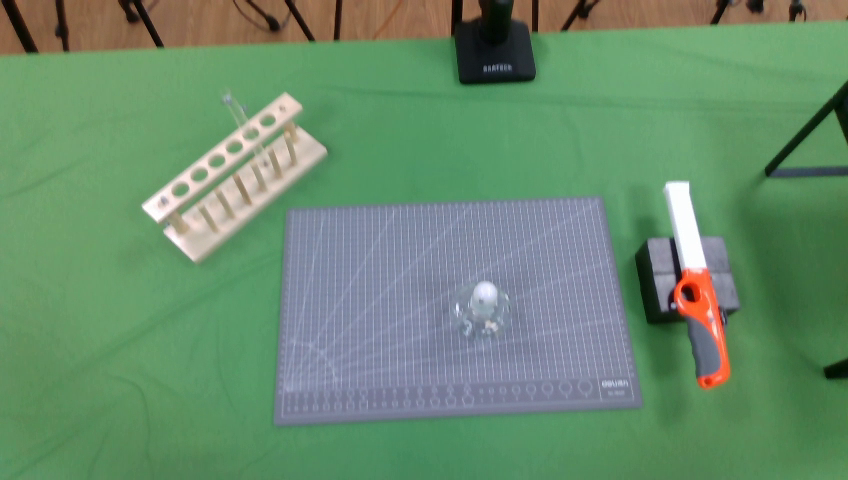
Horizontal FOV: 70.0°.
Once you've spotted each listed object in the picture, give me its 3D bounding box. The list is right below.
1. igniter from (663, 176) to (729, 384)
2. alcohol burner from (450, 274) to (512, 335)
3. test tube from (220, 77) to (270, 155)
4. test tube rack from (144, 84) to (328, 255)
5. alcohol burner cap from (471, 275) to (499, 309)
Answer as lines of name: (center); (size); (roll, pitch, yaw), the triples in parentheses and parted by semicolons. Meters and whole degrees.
igniter: (0.336, 0.041, 0.753); (0.057, 0.025, 0.274); (0, 64, 1)
alcohol burner: (0.071, 0.072, 0.736); (0.078, 0.120, 0.077); (1, 64, -2)
test tube: (-0.232, -0.158, 0.796); (0.017, 0.151, 0.017); (-2, 64, 4)
test tube rack: (-0.246, -0.096, 0.823); (0.066, 0.086, 0.242); (40, 71, 16)
alcohol burner cap: (0.072, 0.058, 0.703); (0.034, 0.048, 0.033); (-1, 68, 3)
